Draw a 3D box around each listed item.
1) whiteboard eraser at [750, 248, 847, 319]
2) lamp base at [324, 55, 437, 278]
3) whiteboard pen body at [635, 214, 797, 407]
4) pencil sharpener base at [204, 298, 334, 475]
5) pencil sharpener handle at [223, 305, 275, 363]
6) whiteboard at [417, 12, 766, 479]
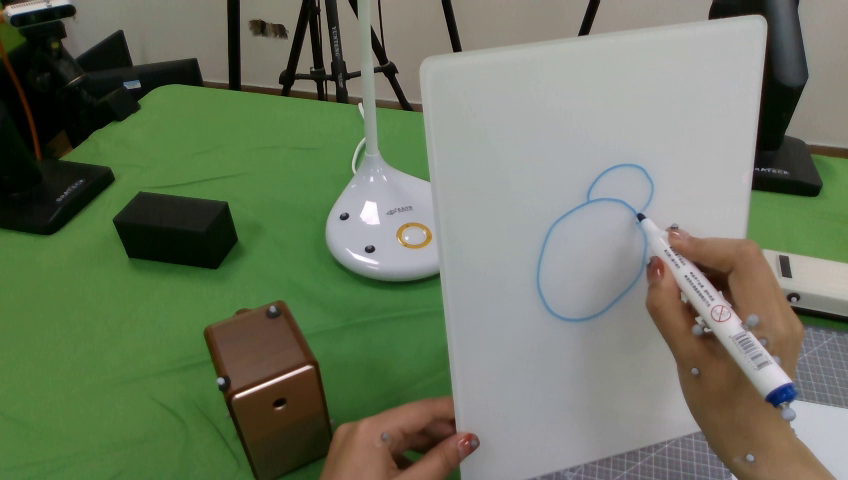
[{"bbox_3d":[0.367,0.044,0.564,0.112,0.042,0.055,10,40,14],"label":"whiteboard eraser"},{"bbox_3d":[-0.035,-0.081,0.610,0.161,0.182,0.177,-24,43,-25],"label":"lamp base"},{"bbox_3d":[0.155,0.031,0.338,0.017,0.017,0.139,-11,46,-12],"label":"whiteboard pen body"},{"bbox_3d":[-0.113,0.107,0.445,0.061,0.108,0.076,-20,44,-21],"label":"pencil sharpener base"},{"bbox_3d":[-0.135,0.068,0.472,0.036,0.068,0.030,-27,46,-15],"label":"pencil sharpener handle"},{"bbox_3d":[0.102,0.003,0.455,0.217,0.307,0.142,-10,22,-10],"label":"whiteboard"}]
